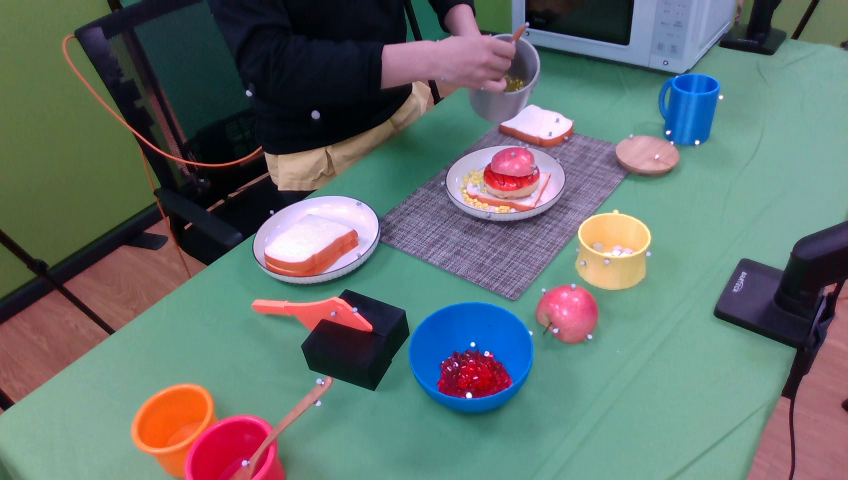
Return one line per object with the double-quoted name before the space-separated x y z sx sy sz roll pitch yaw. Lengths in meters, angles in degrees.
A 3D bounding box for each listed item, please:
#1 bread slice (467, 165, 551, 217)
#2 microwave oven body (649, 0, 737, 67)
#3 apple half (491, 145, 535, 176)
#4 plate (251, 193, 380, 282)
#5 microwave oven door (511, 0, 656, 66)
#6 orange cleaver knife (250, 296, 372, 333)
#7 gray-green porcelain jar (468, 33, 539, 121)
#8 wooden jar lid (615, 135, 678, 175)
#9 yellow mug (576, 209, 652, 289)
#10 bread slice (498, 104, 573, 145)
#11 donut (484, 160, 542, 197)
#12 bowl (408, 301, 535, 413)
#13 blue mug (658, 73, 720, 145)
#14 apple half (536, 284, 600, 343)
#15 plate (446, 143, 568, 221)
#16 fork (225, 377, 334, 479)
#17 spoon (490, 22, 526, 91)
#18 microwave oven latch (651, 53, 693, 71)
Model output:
"bread slice" 0.142 -0.089 1.047 0.134 0.018 0.107 13 46 15
"microwave oven body" 0.475 -0.602 1.411 0.438 0.261 0.327 23 50 32
"apple half" 0.147 -0.138 0.994 0.081 0.033 0.081 0 37 0
"plate" -0.174 -0.001 0.984 0.209 0.038 0.208 -4 40 4
"microwave oven door" 0.351 -0.540 1.349 0.353 0.245 0.039 24 50 31
"orange cleaver knife" -0.159 0.103 0.828 0.210 0.078 0.012 -4 43 39
"gray-green porcelain jar" 0.129 -0.268 1.019 0.106 0.126 0.105 0 78 -2
"wooden jar lid" 0.398 -0.151 1.086 0.108 0.021 0.108 -2 42 2
"yellow mug" 0.279 0.004 0.893 0.099 0.064 0.130 6 42 14
"bread slice" 0.231 -0.231 1.205 0.105 0.019 0.130 -36 47 -29
"donut" 0.149 -0.110 1.015 0.099 0.048 0.098 -4 41 4
"bowl" 0.059 0.156 0.739 0.151 0.077 0.150 -4 40 4
"blue mug" 0.483 -0.250 1.127 0.082 0.106 0.115 -26 44 -19
"apple half" 0.196 0.091 0.815 0.075 0.053 0.080 -22 42 -20
"plate" 0.142 -0.097 1.045 0.207 0.039 0.206 -4 40 4
"fork" -0.163 0.216 0.646 0.207 0.019 0.028 -49 42 16
"spoon" 0.124 -0.276 0.968 0.042 0.194 0.021 -20 67 -20
"microwave oven latch" 0.532 -0.386 1.301 0.078 0.029 0.030 27 52 34
